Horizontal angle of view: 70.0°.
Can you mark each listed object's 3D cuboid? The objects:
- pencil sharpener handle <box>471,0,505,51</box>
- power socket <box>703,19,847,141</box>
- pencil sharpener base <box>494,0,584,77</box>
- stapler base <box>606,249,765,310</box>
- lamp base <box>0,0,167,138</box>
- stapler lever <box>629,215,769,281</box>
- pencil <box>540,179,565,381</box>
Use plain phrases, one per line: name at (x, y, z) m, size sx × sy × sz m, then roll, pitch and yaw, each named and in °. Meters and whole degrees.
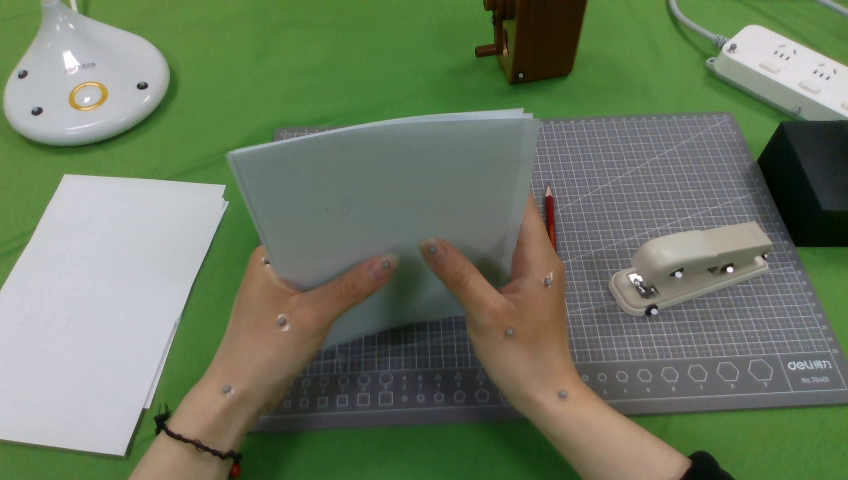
pencil sharpener handle at (0.060, -0.217, 0.582) m, size 0.031 × 0.068 × 0.035 m, roll -12°, pitch 34°, yaw -7°
power socket at (0.391, -0.150, 0.595) m, size 0.072 × 0.033 × 0.225 m, roll -39°, pitch 63°, yaw -24°
pencil sharpener base at (0.108, -0.224, 0.603) m, size 0.077 × 0.108 × 0.060 m, roll -12°, pitch 56°, yaw -7°
stapler base at (0.211, 0.018, 0.483) m, size 0.131 × 0.024 × 0.041 m, roll -16°, pitch 58°, yaw -12°
lamp base at (-0.351, -0.215, 0.555) m, size 0.161 × 0.182 × 0.177 m, roll -29°, pitch 57°, yaw -18°
stapler lever at (0.212, 0.003, 0.463) m, size 0.118 × 0.040 × 0.026 m, roll -16°, pitch 58°, yaw -12°
pencil at (0.102, 0.022, 0.490) m, size 0.012 × 0.012 × 0.192 m, roll 2°, pitch 54°, yaw 3°
